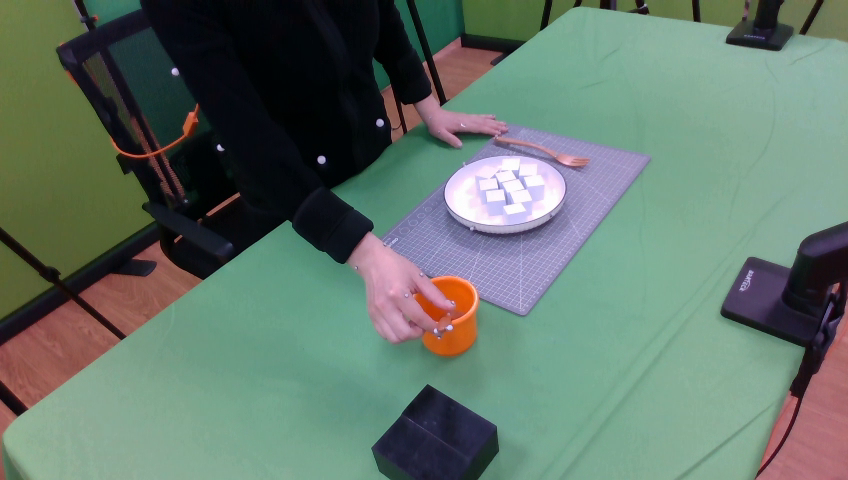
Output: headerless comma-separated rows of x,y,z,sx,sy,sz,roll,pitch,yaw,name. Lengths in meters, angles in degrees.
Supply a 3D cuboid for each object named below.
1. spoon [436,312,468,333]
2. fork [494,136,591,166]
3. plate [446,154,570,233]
0.030,0.102,0.761,0.041,0.194,0.021,4,85,8,spoon
0.219,-0.171,1.144,0.205,0.019,0.028,24,55,31,fork
0.142,-0.076,1.032,0.207,0.039,0.206,-5,40,5,plate
